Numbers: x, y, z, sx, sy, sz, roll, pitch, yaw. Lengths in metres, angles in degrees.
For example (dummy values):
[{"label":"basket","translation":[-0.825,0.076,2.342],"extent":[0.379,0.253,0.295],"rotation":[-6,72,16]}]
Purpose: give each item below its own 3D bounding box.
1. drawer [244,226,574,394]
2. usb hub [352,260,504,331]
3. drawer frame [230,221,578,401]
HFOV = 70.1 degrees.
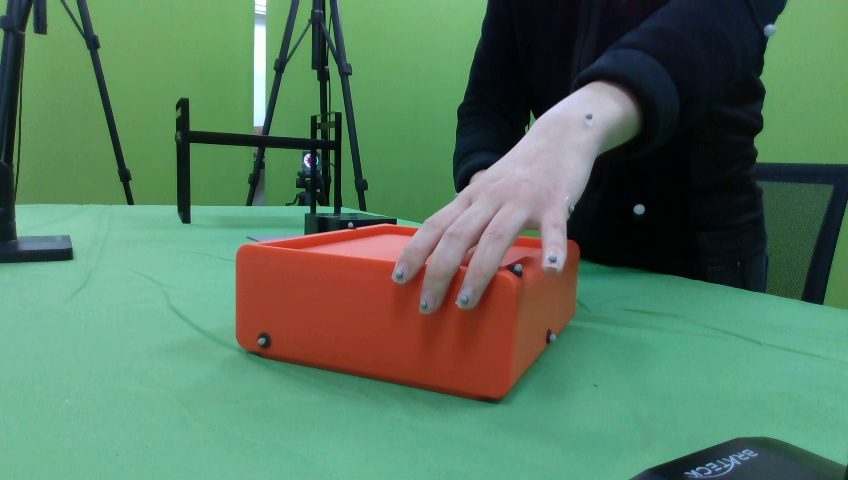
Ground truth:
[{"label":"drawer","translation":[0.002,0.041,0.480],"extent":[0.194,0.073,0.212],"rotation":[6,10,22]},{"label":"usb hub","translation":[0.002,0.046,0.512],"extent":[0.124,0.025,0.050],"rotation":[16,2,28]},{"label":"drawer frame","translation":[0.000,0.038,0.474],"extent":[0.201,0.082,0.214],"rotation":[6,9,22]}]
